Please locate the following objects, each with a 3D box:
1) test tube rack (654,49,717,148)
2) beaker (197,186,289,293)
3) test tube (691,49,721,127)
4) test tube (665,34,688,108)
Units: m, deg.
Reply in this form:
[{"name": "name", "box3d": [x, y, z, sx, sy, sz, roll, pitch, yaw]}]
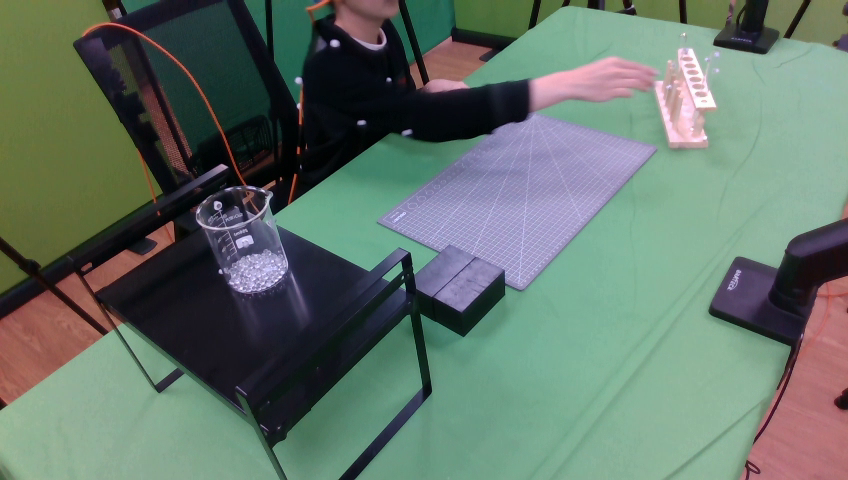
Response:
[{"name": "test tube rack", "box3d": [0.502, -0.281, 1.176, 0.066, 0.085, 0.241, 2, 41, 11]}, {"name": "beaker", "box3d": [-0.192, 0.001, 0.666, 0.084, 0.101, 0.073, -33, 47, -27]}, {"name": "test tube", "box3d": [0.506, -0.269, 1.087, 0.017, 0.151, 0.017, -1, 41, 1]}, {"name": "test tube", "box3d": [0.483, -0.322, 1.159, 0.017, 0.151, 0.017, -3, 42, 3]}]
